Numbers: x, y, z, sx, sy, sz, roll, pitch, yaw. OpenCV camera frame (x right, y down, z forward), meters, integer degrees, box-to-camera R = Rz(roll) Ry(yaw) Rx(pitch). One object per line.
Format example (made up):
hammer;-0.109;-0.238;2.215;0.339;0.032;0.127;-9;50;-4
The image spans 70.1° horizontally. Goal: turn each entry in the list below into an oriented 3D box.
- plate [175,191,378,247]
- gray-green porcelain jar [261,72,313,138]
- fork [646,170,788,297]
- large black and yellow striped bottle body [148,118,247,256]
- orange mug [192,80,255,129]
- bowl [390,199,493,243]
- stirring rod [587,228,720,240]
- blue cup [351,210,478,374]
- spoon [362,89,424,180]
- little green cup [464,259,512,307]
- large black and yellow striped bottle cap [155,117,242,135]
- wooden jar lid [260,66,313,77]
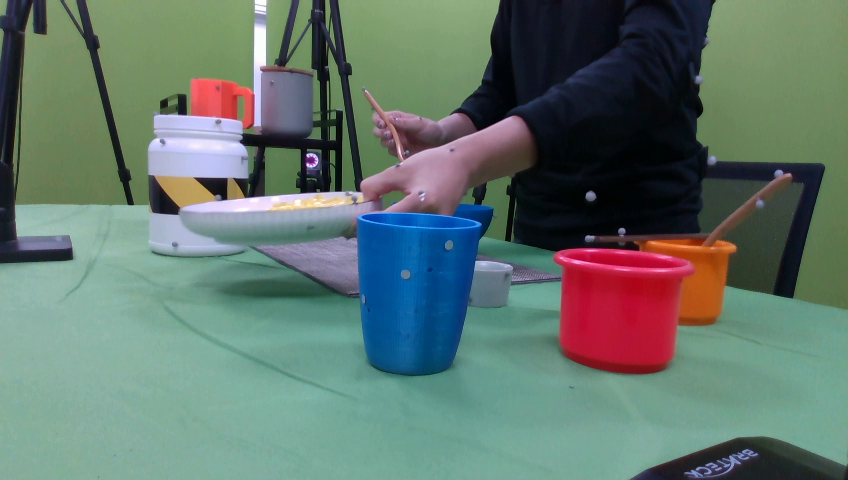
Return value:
plate;-0.152;-0.023;0.644;0.209;0.038;0.209;-3;9;1
gray-green porcelain jar;-0.284;-0.276;1.253;0.106;0.126;0.106;2;8;0
fork;0.256;0.004;0.543;0.028;0.018;0.207;3;-36;-10
large black and yellow striped bottle body;-0.318;-0.076;0.855;0.131;0.184;0.130;2;7;0
orange mug;-0.389;-0.257;1.172;0.126;0.100;0.083;-1;6;9
bowl;0.024;-0.016;0.874;0.151;0.077;0.151;3;8;0
stirring rod;0.227;-0.007;0.586;0.177;0.006;0.014;-2;11;-29
blue cup;-0.009;0.034;0.414;0.093;0.100;0.092;4;8;0
spoon;-0.050;-0.164;0.926;0.021;0.193;0.042;-33;-25;13
little green cup;0.057;0.043;0.611;0.061;0.038;0.061;3;8;0
large black and yellow striped bottle cap;-0.313;-0.159;0.845;0.115;0.019;0.115;3;9;0
wooden jar lid;-0.283;-0.339;1.244;0.108;0.020;0.108;5;8;-1
